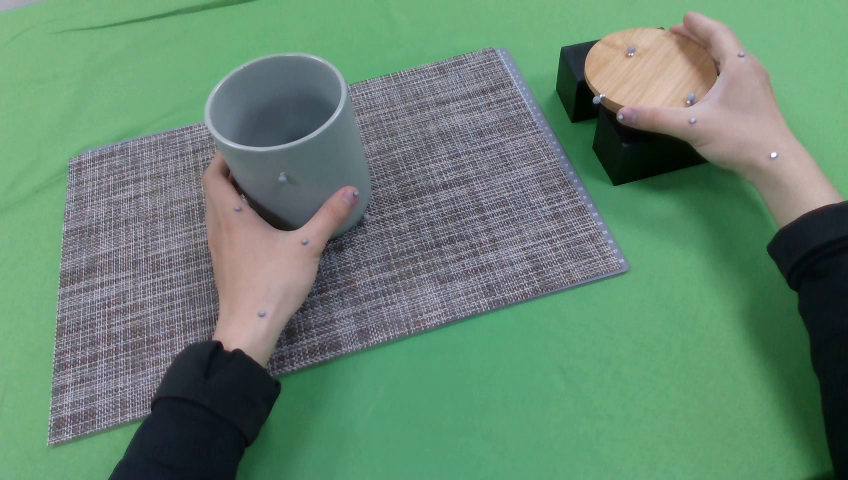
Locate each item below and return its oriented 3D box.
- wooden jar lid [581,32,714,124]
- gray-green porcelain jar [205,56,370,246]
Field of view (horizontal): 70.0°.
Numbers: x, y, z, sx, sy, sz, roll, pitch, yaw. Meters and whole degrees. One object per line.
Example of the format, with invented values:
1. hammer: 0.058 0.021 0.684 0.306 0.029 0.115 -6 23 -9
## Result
1. wooden jar lid: 0.191 -0.139 0.522 0.108 0.021 0.107 -3 56 4
2. gray-green porcelain jar: -0.102 -0.065 0.492 0.106 0.128 0.105 -3 54 5
